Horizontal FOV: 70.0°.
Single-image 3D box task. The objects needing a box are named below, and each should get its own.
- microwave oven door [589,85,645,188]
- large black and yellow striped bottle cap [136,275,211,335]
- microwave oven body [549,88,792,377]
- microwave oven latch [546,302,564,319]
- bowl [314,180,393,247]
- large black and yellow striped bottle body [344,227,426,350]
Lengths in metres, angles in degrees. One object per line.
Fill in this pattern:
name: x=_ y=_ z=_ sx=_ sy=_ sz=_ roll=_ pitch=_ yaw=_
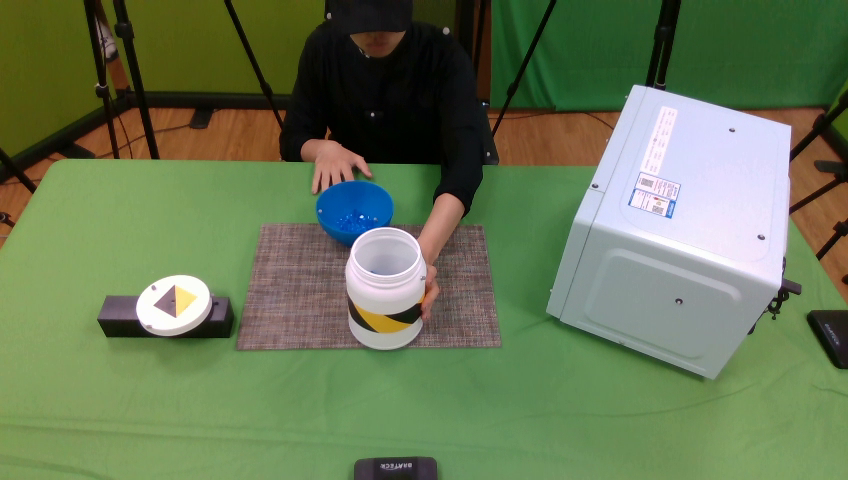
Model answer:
microwave oven door: x=0.341 y=-0.107 z=1.149 sx=0.039 sy=0.245 sz=0.354 roll=20 pitch=48 yaw=15
large black and yellow striped bottle cap: x=-0.412 y=0.105 z=0.998 sx=0.115 sy=0.019 sz=0.114 roll=3 pitch=46 yaw=-3
microwave oven body: x=0.456 y=-0.028 z=1.088 sx=0.325 sy=0.261 sz=0.440 roll=20 pitch=47 yaw=16
microwave oven latch: x=0.242 y=0.102 z=1.081 sx=0.030 sy=0.029 sz=0.079 roll=21 pitch=48 yaw=17
bowl: x=-0.135 y=-0.039 z=1.181 sx=0.151 sy=0.077 sz=0.150 roll=2 pitch=46 yaw=-2
large black and yellow striped bottle body: x=-0.064 y=0.080 z=0.996 sx=0.131 sy=0.185 sz=0.130 roll=2 pitch=46 yaw=-2
